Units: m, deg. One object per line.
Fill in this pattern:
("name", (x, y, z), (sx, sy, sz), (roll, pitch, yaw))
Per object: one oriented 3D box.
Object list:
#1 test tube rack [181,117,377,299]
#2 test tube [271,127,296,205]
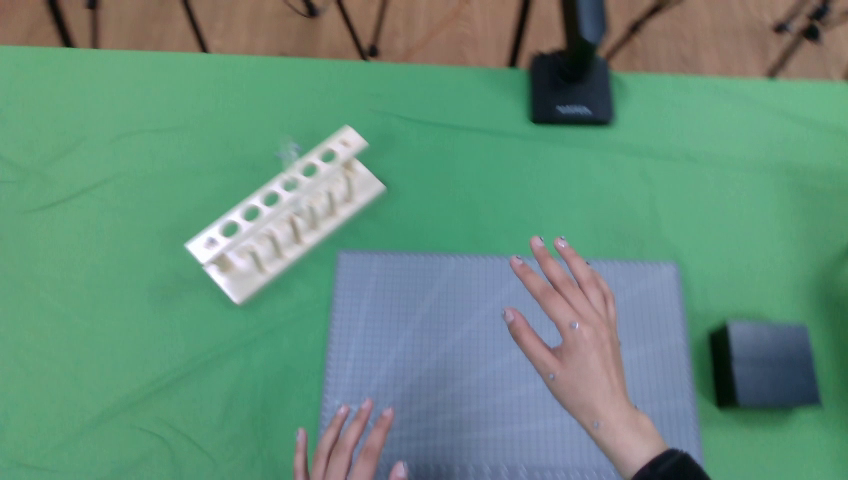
("test tube rack", (-0.170, -0.040, 0.755), (0.242, 0.086, 0.066), (-42, 75, -17))
("test tube", (-0.166, -0.083, 0.719), (0.017, 0.151, 0.017), (3, 63, -6))
